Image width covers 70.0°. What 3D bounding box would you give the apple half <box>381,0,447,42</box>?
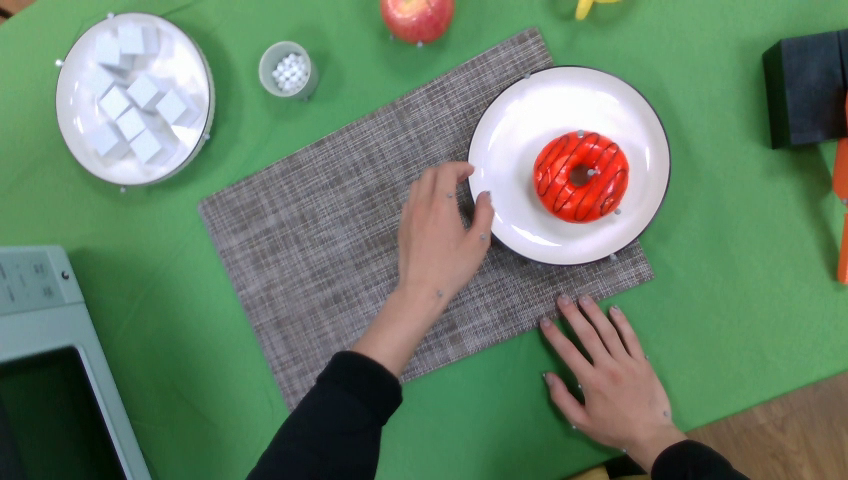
[{"bbox_3d":[-0.017,-0.248,0.653,0.053,0.074,0.081,-34,90,14],"label":"apple half"}]

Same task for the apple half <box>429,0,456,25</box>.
[{"bbox_3d":[0.015,-0.270,0.645,0.033,0.081,0.081,-34,85,15],"label":"apple half"}]

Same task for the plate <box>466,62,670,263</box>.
[{"bbox_3d":[0.149,-0.080,0.643,0.209,0.038,0.209,0,93,11],"label":"plate"}]

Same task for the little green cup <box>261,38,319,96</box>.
[{"bbox_3d":[-0.151,-0.196,0.697,0.061,0.039,0.061,0,92,11],"label":"little green cup"}]

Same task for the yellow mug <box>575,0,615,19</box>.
[{"bbox_3d":[0.185,-0.290,0.616,0.099,0.064,0.131,24,97,9],"label":"yellow mug"}]

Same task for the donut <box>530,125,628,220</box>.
[{"bbox_3d":[0.161,-0.070,0.630,0.099,0.048,0.099,1,94,11],"label":"donut"}]

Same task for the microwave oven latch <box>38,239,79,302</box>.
[{"bbox_3d":[-0.455,0.038,0.744,0.030,0.029,0.079,-18,90,10],"label":"microwave oven latch"}]

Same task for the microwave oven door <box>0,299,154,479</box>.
[{"bbox_3d":[-0.394,0.246,0.639,0.039,0.244,0.355,-22,88,11],"label":"microwave oven door"}]

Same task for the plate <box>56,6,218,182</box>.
[{"bbox_3d":[-0.341,-0.173,0.733,0.207,0.039,0.207,0,92,11],"label":"plate"}]

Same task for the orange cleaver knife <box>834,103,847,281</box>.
[{"bbox_3d":[0.408,-0.059,0.578,0.012,0.076,0.213,-4,121,14],"label":"orange cleaver knife"}]

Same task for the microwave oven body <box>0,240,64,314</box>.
[{"bbox_3d":[-0.542,0.260,0.672,0.326,0.260,0.441,-22,89,10],"label":"microwave oven body"}]
